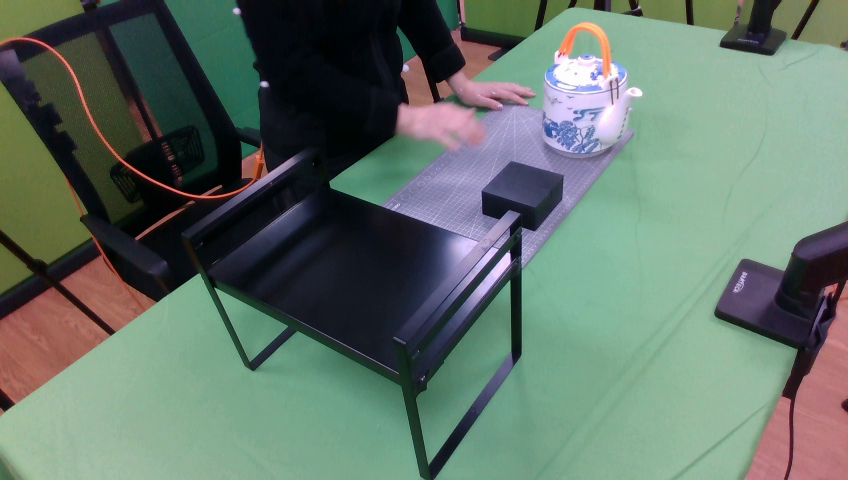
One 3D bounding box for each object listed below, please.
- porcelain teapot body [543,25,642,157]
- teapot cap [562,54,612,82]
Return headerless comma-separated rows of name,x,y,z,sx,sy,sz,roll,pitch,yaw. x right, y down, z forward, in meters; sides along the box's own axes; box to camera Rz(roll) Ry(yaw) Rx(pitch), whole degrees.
porcelain teapot body,0.306,-0.258,1.070,0.146,0.226,0.203,-26,44,-20
teapot cap,0.287,-0.303,1.064,0.085,0.044,0.085,-2,42,3
